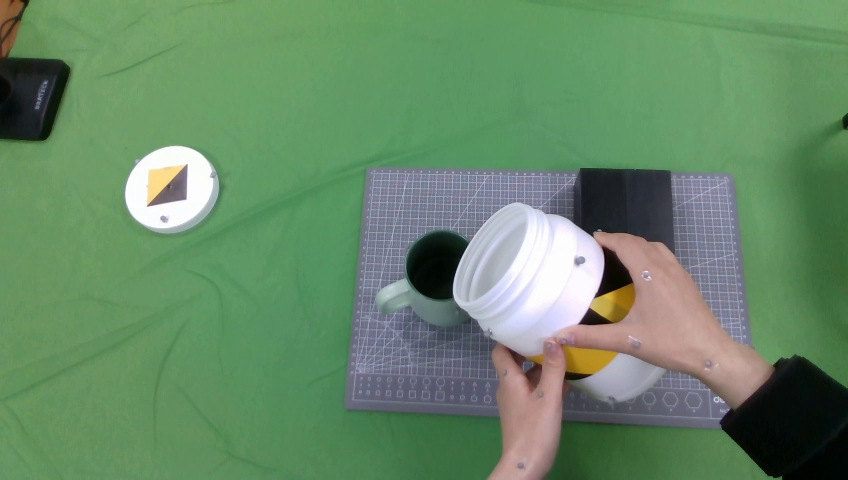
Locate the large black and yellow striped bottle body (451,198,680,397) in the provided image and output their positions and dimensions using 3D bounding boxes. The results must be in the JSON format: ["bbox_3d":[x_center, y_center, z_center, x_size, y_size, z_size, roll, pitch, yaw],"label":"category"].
[{"bbox_3d":[0.130,0.053,0.570,0.185,0.130,0.130,31,74,-18],"label":"large black and yellow striped bottle body"}]

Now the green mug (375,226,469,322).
[{"bbox_3d":[0.006,0.044,0.664,0.125,0.105,0.092,-24,72,-4],"label":"green mug"}]

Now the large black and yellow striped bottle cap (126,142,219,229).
[{"bbox_3d":[-0.321,-0.070,0.771,0.115,0.019,0.114,-1,71,3],"label":"large black and yellow striped bottle cap"}]
